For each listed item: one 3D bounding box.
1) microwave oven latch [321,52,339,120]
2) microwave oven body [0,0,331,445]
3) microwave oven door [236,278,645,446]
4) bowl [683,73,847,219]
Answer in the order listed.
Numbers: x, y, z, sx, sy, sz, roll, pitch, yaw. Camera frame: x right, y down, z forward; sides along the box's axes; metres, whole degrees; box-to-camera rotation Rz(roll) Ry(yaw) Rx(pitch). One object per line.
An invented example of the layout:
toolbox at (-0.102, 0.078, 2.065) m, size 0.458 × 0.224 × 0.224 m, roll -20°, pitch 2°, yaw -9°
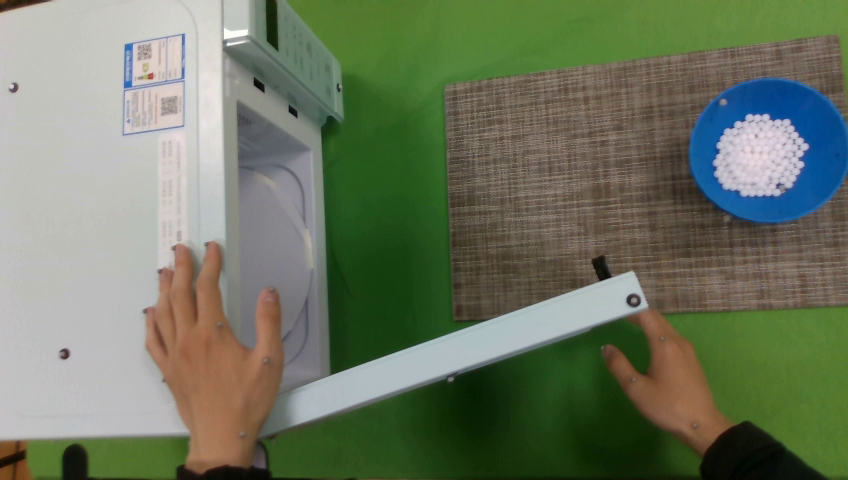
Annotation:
microwave oven latch at (-0.128, -0.197, 0.776) m, size 0.030 × 0.029 × 0.079 m, roll -6°, pitch 83°, yaw 12°
microwave oven body at (-0.282, -0.019, 0.692) m, size 0.325 × 0.261 × 0.440 m, roll -6°, pitch 83°, yaw 12°
microwave oven door at (0.029, 0.113, 0.599) m, size 0.355 × 0.245 × 0.039 m, roll -22°, pitch 78°, yaw 10°
bowl at (0.350, -0.091, 0.645) m, size 0.151 × 0.077 × 0.151 m, roll -2°, pitch 83°, yaw 13°
